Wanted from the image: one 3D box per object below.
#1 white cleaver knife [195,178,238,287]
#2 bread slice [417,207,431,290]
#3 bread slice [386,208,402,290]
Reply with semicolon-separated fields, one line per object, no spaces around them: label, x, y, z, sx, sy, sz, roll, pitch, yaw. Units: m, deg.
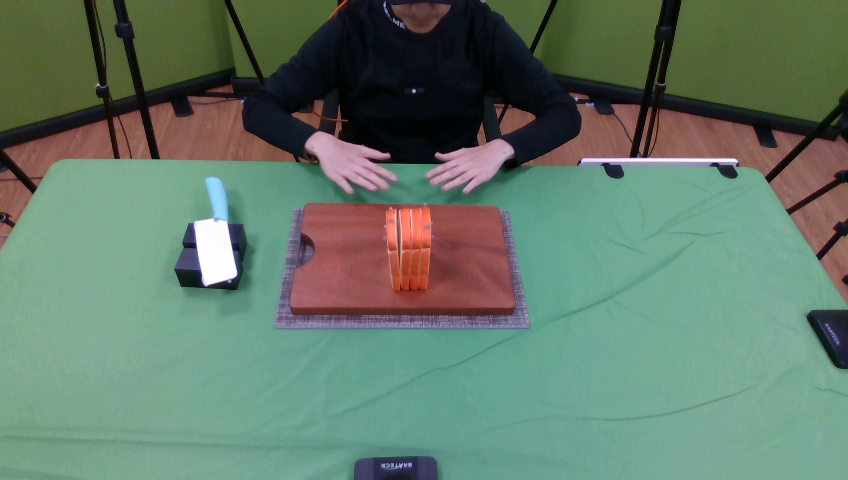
white cleaver knife;-0.393;-0.024;1.132;0.066;0.021;0.284;-11;46;-14
bread slice;0.000;0.009;1.071;0.018;0.135;0.106;0;49;-4
bread slice;-0.054;0.009;1.069;0.019;0.132;0.104;-5;46;0
